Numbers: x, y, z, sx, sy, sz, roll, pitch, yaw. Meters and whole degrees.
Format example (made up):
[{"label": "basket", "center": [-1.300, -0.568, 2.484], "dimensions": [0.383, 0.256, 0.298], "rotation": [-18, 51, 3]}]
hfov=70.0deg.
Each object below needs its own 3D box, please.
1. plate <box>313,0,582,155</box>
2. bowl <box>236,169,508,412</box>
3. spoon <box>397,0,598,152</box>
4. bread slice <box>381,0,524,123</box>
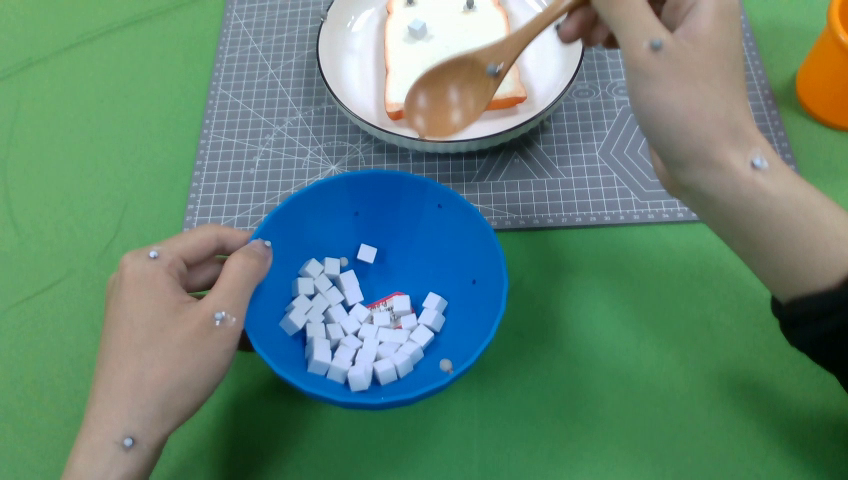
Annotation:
[{"label": "plate", "center": [0.017, -0.151, 0.486], "dimensions": [0.209, 0.038, 0.207], "rotation": [-2, 63, 4]}, {"label": "bowl", "center": [-0.029, 0.039, 0.367], "dimensions": [0.151, 0.077, 0.150], "rotation": [1, 57, -2]}, {"label": "spoon", "center": [0.063, -0.108, 0.309], "dimensions": [0.194, 0.022, 0.041], "rotation": [-33, 83, 27]}, {"label": "bread slice", "center": [0.014, -0.154, 0.491], "dimensions": [0.107, 0.018, 0.133], "rotation": [-9, 65, 1]}]
